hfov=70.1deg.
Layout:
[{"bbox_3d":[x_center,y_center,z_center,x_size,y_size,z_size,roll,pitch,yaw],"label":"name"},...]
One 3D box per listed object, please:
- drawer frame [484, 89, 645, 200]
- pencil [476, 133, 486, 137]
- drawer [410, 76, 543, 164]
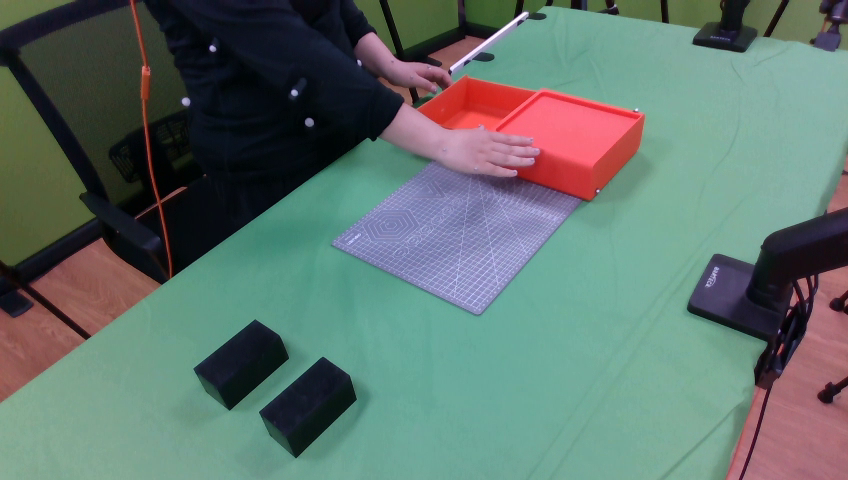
[{"bbox_3d":[0.253,-0.180,1.094,0.212,0.083,0.202,24,48,31],"label":"drawer frame"},{"bbox_3d":[0.128,-0.208,1.195,0.194,0.012,0.012,-4,40,8],"label":"pencil"},{"bbox_3d":[0.114,-0.238,1.191,0.210,0.073,0.195,22,47,33],"label":"drawer"}]
